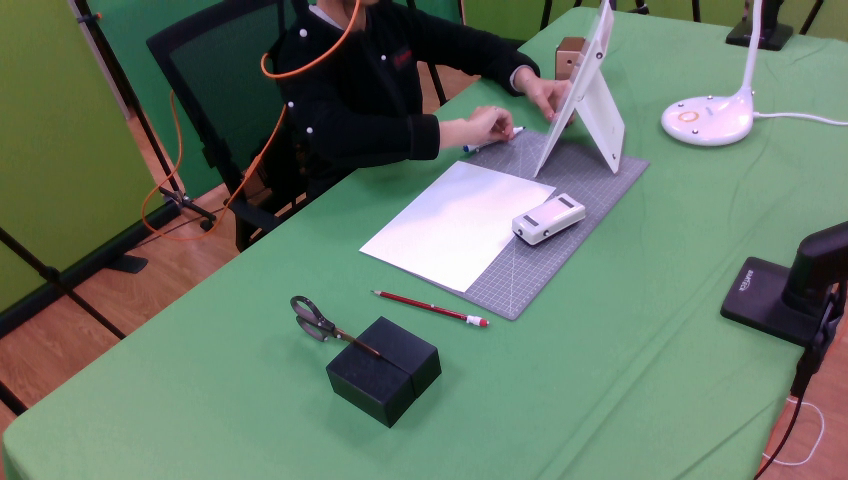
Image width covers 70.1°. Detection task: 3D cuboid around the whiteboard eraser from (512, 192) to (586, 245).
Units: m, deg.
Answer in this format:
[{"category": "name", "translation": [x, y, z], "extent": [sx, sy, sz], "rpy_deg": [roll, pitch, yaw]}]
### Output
[{"category": "whiteboard eraser", "translation": [0.199, -0.032, 0.962], "extent": [0.113, 0.042, 0.055], "rpy_deg": [-27, 42, -20]}]

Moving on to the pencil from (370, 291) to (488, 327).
[{"category": "pencil", "translation": [0.003, 0.097, 0.877], "extent": [0.193, 0.012, 0.012], "rpy_deg": [13, 45, 26]}]

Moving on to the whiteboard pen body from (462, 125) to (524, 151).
[{"category": "whiteboard pen body", "translation": [0.139, -0.205, 1.196], "extent": [0.141, 0.017, 0.017], "rpy_deg": [-23, 42, -17]}]

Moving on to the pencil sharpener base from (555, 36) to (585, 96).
[{"category": "pencil sharpener base", "translation": [0.318, -0.371, 1.290], "extent": [0.061, 0.107, 0.076], "rpy_deg": [10, 44, 22]}]

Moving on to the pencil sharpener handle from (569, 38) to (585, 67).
[{"category": "pencil sharpener handle", "translation": [0.333, -0.413, 1.318], "extent": [0.036, 0.068, 0.030], "rpy_deg": [19, 47, 13]}]

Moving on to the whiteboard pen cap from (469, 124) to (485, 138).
[{"category": "whiteboard pen cap", "translation": [0.107, -0.220, 1.224], "extent": [0.033, 0.018, 0.018], "rpy_deg": [-38, 48, -23]}]

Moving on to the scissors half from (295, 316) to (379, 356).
[{"category": "scissors half", "translation": [-0.119, 0.131, 0.813], "extent": [0.174, 0.040, 0.013], "rpy_deg": [9, 34, 45]}]

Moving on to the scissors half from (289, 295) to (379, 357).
[{"category": "scissors half", "translation": [-0.122, 0.114, 0.803], "extent": [0.174, 0.040, 0.013], "rpy_deg": [26, 50, 32]}]

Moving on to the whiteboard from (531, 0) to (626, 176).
[{"category": "whiteboard", "translation": [0.321, -0.258, 1.050], "extent": [0.144, 0.306, 0.217], "rpy_deg": [22, 45, 5]}]

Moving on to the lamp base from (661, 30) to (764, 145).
[{"category": "lamp base", "translation": [0.535, -0.287, 1.096], "extent": [0.179, 0.181, 0.159], "rpy_deg": [-10, 40, -4]}]
